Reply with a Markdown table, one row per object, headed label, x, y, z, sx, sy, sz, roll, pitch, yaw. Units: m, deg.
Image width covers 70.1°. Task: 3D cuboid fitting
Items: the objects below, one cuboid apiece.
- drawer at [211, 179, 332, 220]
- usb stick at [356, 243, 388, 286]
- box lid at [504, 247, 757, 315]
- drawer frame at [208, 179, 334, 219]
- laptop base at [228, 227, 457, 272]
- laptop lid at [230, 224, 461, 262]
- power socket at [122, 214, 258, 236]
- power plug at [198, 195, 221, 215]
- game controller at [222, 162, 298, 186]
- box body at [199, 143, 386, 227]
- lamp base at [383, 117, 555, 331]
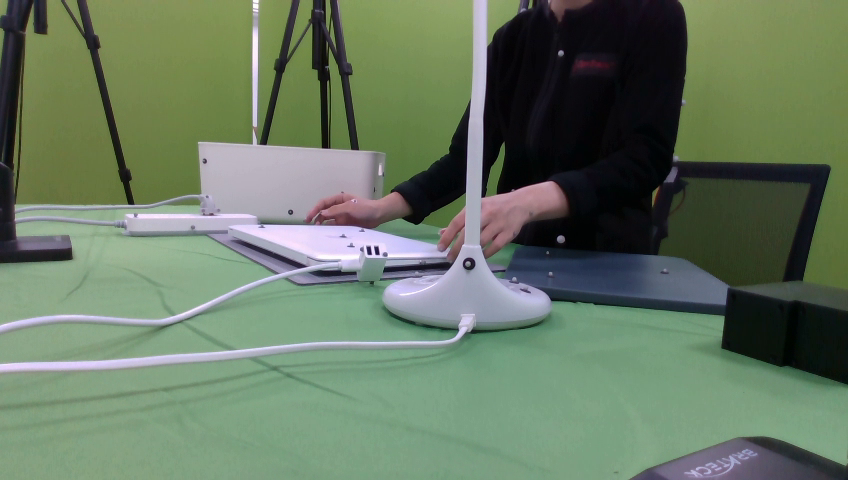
| label | x | y | z | sx | sy | sz | roll | pitch | yaw |
| --- | --- | --- | --- | --- | --- | --- | --- | --- | --- |
| drawer | -0.328 | -0.095 | 1.331 | 0.212 | 0.073 | 0.194 | 5 | 8 | 6 |
| usb stick | -0.057 | 0.029 | 0.658 | 0.027 | 0.059 | 0.021 | -5 | 52 | -19 |
| box lid | 0.244 | 0.044 | 0.793 | 0.263 | 0.015 | 0.372 | 4 | 6 | 11 |
| drawer frame | -0.326 | -0.093 | 1.328 | 0.213 | 0.082 | 0.202 | -1 | 5 | 6 |
| laptop base | -0.122 | 0.012 | 0.889 | 0.237 | 0.023 | 0.352 | 2 | 6 | -35 |
| laptop lid | -0.119 | 0.000 | 0.888 | 0.243 | 0.013 | 0.355 | 1 | 7 | -33 |
| power socket | -0.399 | -0.028 | 1.049 | 0.228 | 0.032 | 0.072 | -3 | 8 | -34 |
| power plug | -0.387 | -0.055 | 1.089 | 0.035 | 0.052 | 0.072 | -1 | 6 | -22 |
| game controller | -0.357 | -0.143 | 1.322 | 0.156 | 0.051 | 0.097 | 1 | 2 | -16 |
| box body | -0.276 | -0.124 | 1.335 | 0.364 | 0.160 | 0.254 | 3 | 7 | 1 |
| lamp base | 0.045 | -0.019 | 0.547 | 0.161 | 0.180 | 0.179 | 2 | 10 | -4 |
